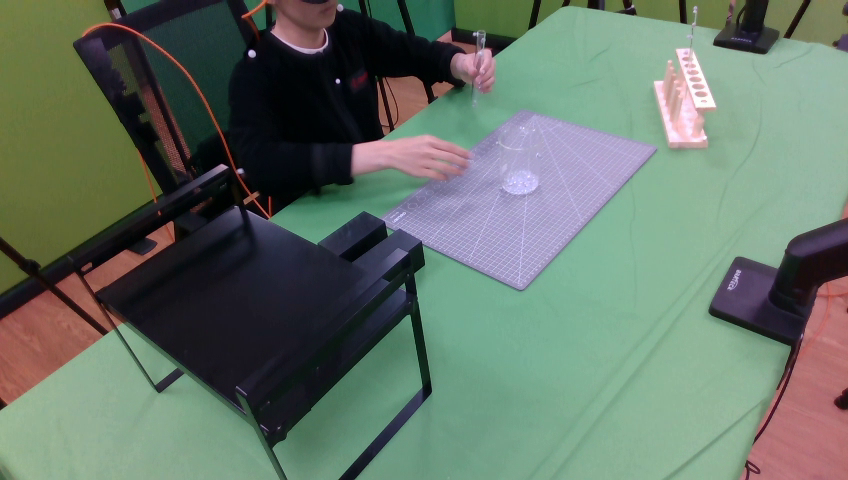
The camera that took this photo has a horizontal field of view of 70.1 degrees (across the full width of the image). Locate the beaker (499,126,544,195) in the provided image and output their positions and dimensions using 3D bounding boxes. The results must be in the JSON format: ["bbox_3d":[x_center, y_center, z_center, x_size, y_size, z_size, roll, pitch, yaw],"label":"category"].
[{"bbox_3d":[0.170,-0.136,1.045,0.073,0.101,0.084,12,44,21],"label":"beaker"}]

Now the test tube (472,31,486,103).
[{"bbox_3d":[0.104,-0.324,1.147,0.017,0.151,0.017,1,47,0],"label":"test tube"}]

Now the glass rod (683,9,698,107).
[{"bbox_3d":[0.501,-0.336,1.139,0.008,0.201,0.008,-8,42,8],"label":"glass rod"}]

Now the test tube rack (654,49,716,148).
[{"bbox_3d":[0.502,-0.281,1.176,0.066,0.085,0.241,2,41,11],"label":"test tube rack"}]
